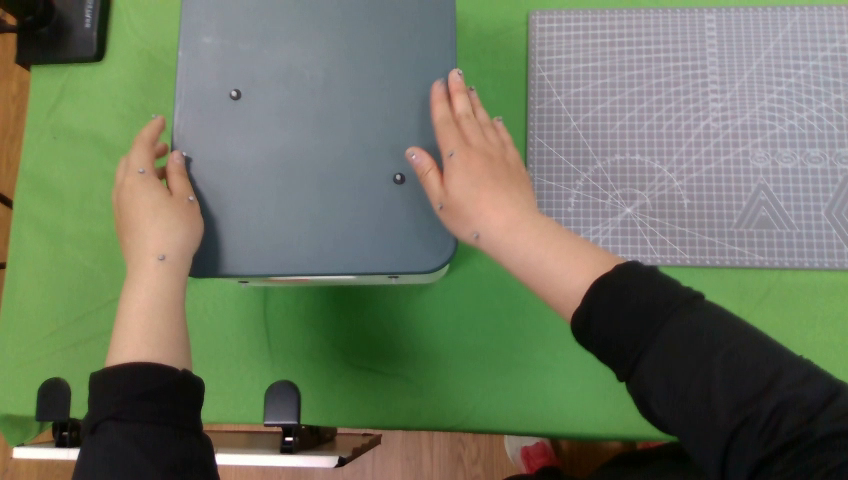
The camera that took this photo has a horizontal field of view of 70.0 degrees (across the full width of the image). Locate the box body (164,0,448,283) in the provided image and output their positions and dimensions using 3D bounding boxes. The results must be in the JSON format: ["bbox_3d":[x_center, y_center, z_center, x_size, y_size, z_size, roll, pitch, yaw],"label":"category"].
[{"bbox_3d":[-0.102,-0.136,0.635,0.254,0.161,0.362,-2,80,6],"label":"box body"}]

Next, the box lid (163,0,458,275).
[{"bbox_3d":[-0.102,-0.153,0.557,0.263,0.015,0.370,-2,80,5],"label":"box lid"}]

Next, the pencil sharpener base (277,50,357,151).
[{"bbox_3d":[-0.113,-0.145,0.659,0.061,0.107,0.076,-4,79,6],"label":"pencil sharpener base"}]

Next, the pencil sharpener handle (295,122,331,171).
[{"bbox_3d":[-0.115,-0.097,0.638,0.036,0.068,0.030,-2,79,-5],"label":"pencil sharpener handle"}]
